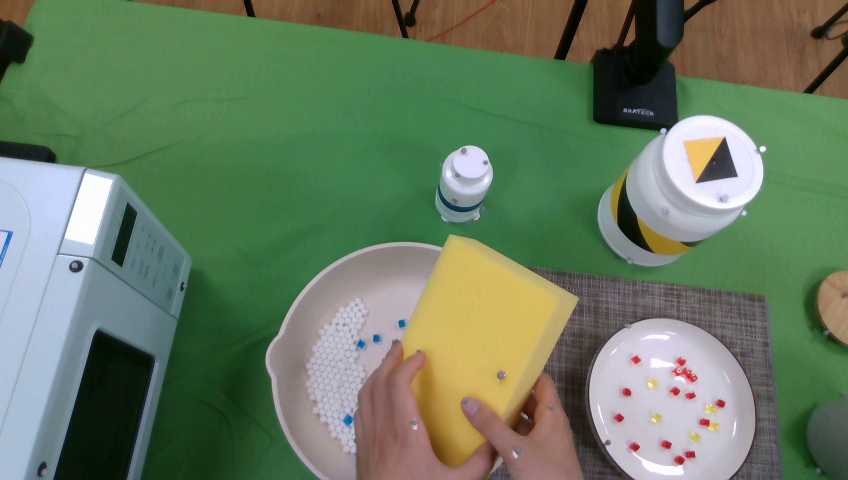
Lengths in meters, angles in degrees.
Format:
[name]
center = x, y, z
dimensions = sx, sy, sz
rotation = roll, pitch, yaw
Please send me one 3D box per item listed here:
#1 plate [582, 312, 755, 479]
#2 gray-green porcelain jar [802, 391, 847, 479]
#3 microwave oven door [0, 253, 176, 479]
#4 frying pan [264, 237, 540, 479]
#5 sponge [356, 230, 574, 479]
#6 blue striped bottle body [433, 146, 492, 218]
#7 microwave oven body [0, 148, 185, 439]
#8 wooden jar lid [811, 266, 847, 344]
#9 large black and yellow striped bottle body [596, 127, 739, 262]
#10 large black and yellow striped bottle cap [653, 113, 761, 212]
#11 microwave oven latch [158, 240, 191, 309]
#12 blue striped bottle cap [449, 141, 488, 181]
[plate]
center = 0.290, 0.192, 0.734
dimensions = 0.209, 0.038, 0.208
rotation = 2, 72, -4
[gray-green porcelain jar]
center = 0.520, 0.227, 0.703
dimensions = 0.106, 0.127, 0.105
rotation = 2, 71, -5
[microwave oven door]
center = -0.314, 0.212, 0.543
dimensions = 0.039, 0.245, 0.353
rotation = 7, 71, -3
[frying pan]
center = -0.032, 0.235, 0.653
dimensions = 0.307, 0.103, 0.484
rotation = 6, 63, -1
[sponge]
center = 0.034, 0.110, 0.557
dimensions = 0.117, 0.061, 0.207
rotation = 29, 101, 27
[blue striped bottle body]
center = 0.048, -0.077, 0.758
dimensions = 0.063, 0.121, 0.062
rotation = 2, 71, -5
[microwave oven body]
center = -0.453, 0.155, 0.553
dimensions = 0.326, 0.261, 0.439
rotation = 7, 72, -3
[wooden jar lid]
center = 0.568, 0.089, 0.809
dimensions = 0.108, 0.021, 0.107
rotation = 2, 73, -5
[large black and yellow striped bottle body]
center = 0.303, -0.059, 0.745
dimensions = 0.131, 0.185, 0.130
rotation = 2, 71, -5
[large black and yellow striped bottle cap]
center = 0.310, -0.086, 0.664
dimensions = 0.115, 0.019, 0.114
rotation = 2, 70, -5
[microwave oven latch]
center = -0.296, 0.039, 0.709
dimensions = 0.030, 0.029, 0.078
rotation = 10, 72, -3
[blue striped bottle cap]
center = 0.052, -0.093, 0.709
dimensions = 0.044, 0.021, 0.044
rotation = 2, 68, -4
